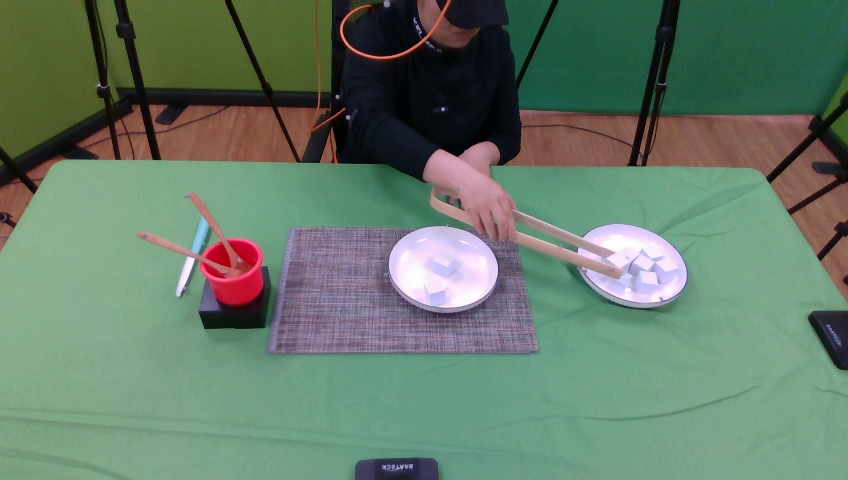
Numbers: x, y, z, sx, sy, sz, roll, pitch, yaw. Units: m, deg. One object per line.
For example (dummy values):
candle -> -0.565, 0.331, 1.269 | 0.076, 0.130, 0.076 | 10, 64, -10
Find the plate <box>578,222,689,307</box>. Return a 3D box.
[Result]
plate -> 0.396, 0.050, 1.165 | 0.209, 0.038, 0.208 | 2, 47, -2

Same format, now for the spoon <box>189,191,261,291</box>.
spoon -> -0.333, 0.001, 1.012 | 0.041, 0.194, 0.021 | -35, 15, -25

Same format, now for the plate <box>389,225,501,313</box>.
plate -> 0.038, 0.057, 1.129 | 0.208, 0.039, 0.206 | 2, 46, -2

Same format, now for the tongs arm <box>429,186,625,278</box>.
tongs arm -> 0.182, -0.018, 1.122 | 0.384, 0.026, 0.050 | 20, 46, 12

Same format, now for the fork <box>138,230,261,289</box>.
fork -> -0.359, 0.032, 0.981 | 0.208, 0.018, 0.028 | 31, 60, -30

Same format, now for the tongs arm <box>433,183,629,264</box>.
tongs arm -> 0.194, -0.034, 1.141 | 0.387, 0.028, 0.028 | 22, 50, 14

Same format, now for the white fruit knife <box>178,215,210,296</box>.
white fruit knife -> -0.435, 0.025, 1.148 | 0.027, 0.016, 0.206 | -17, 45, 18
